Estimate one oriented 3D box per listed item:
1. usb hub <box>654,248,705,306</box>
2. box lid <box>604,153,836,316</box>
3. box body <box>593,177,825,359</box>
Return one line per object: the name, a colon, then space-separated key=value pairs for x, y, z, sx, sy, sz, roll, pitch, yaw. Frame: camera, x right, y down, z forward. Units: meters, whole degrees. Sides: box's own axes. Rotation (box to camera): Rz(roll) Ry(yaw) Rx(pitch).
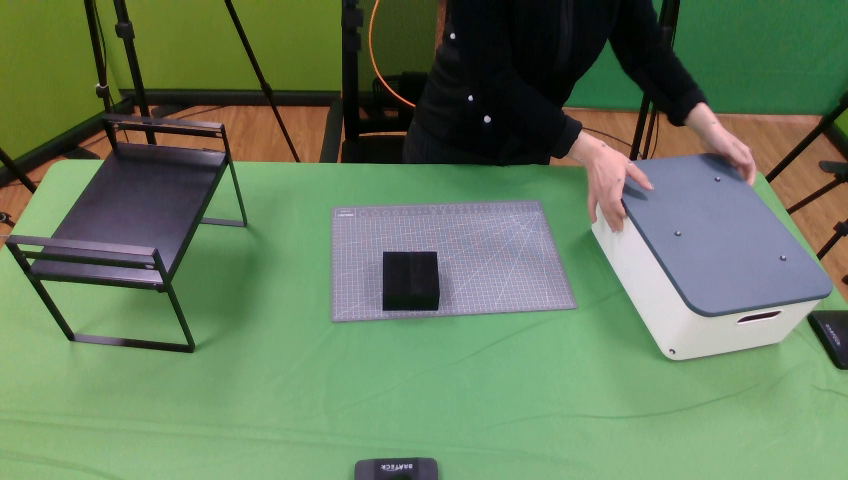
usb hub: x=0.482 y=0.069 z=1.150 sx=0.049 sy=0.025 sz=0.124 roll=-1 pitch=48 yaw=-8
box lid: x=0.499 y=-0.029 z=1.060 sx=0.264 sy=0.015 sz=0.369 roll=-7 pitch=47 yaw=-11
box body: x=0.497 y=0.023 z=1.111 sx=0.254 sy=0.161 sz=0.361 roll=-7 pitch=47 yaw=-10
